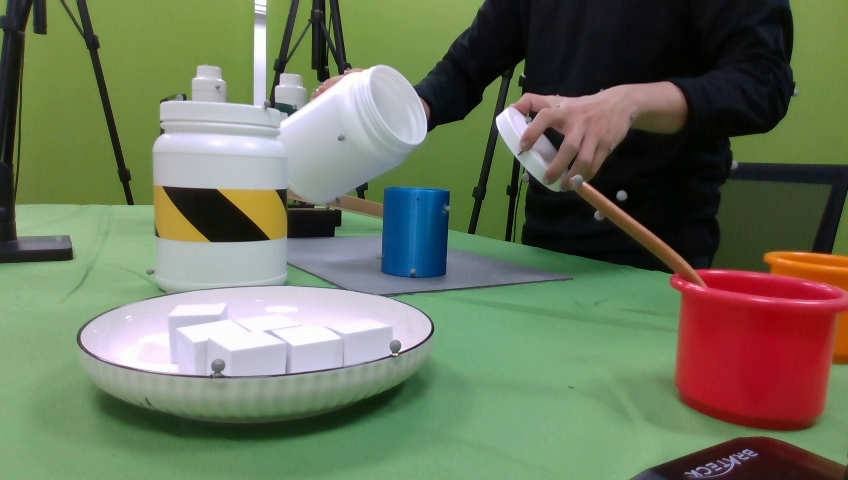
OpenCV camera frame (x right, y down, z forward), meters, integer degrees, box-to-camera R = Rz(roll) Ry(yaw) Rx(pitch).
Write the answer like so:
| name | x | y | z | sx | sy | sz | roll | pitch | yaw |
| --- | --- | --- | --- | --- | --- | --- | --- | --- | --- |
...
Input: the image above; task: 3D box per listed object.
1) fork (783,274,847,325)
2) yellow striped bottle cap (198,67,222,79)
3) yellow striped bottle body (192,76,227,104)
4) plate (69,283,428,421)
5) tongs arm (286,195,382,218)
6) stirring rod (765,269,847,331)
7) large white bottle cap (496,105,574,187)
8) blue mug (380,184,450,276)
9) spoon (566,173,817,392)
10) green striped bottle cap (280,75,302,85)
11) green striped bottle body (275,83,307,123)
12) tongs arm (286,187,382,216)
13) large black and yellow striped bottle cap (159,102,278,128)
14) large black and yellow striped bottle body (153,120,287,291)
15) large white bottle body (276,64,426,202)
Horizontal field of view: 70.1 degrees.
| name | x | y | z | sx | sy | sz | roll | pitch | yaw |
| --- | --- | --- | --- | --- | --- | --- | --- | --- | --- |
| fork | 0.332 | 0.018 | 0.443 | 0.028 | 0.018 | 0.207 | -1 | -36 | -15 |
| yellow striped bottle cap | -0.412 | -0.320 | 1.162 | 0.044 | 0.018 | 0.044 | 1 | 5 | 0 |
| yellow striped bottle body | -0.414 | -0.268 | 1.169 | 0.063 | 0.120 | 0.063 | 2 | 7 | 0 |
| plate | -0.102 | 0.066 | 0.381 | 0.208 | 0.039 | 0.207 | 2 | 7 | 0 |
| tongs arm | -0.166 | -0.074 | 1.216 | 0.389 | 0.027 | 0.028 | 11 | -6 | -24 |
| stirring rod | 0.351 | 0.020 | 0.484 | 0.176 | 0.006 | 0.014 | -40 | -6 | 12 |
| large white bottle cap | 0.130 | -0.111 | 0.706 | 0.018 | 0.114 | 0.115 | -44 | -17 | 28 |
| blue mug | -0.018 | -0.016 | 0.763 | 0.083 | 0.106 | 0.116 | -1 | 8 | -25 |
| spoon | 0.161 | 0.024 | 0.370 | 0.193 | 0.021 | 0.042 | 47 | 18 | 3 |
| green striped bottle cap | -0.267 | -0.320 | 1.216 | 0.044 | 0.020 | 0.044 | 4 | 9 | 0 |
| green striped bottle body | -0.269 | -0.269 | 1.221 | 0.063 | 0.119 | 0.063 | 2 | 7 | 0 |
| tongs arm | -0.122 | -0.066 | 1.147 | 0.387 | 0.026 | 0.050 | 11 | -2 | -38 |
| large black and yellow striped bottle cap | -0.207 | -0.125 | 0.615 | 0.115 | 0.019 | 0.115 | 2 | 6 | 0 |
| large black and yellow striped bottle body | -0.208 | -0.042 | 0.626 | 0.131 | 0.184 | 0.130 | 2 | 7 | 0 |
| large white bottle body | -0.100 | -0.140 | 0.802 | 0.184 | 0.130 | 0.131 | -24 | -9 | 35 |
